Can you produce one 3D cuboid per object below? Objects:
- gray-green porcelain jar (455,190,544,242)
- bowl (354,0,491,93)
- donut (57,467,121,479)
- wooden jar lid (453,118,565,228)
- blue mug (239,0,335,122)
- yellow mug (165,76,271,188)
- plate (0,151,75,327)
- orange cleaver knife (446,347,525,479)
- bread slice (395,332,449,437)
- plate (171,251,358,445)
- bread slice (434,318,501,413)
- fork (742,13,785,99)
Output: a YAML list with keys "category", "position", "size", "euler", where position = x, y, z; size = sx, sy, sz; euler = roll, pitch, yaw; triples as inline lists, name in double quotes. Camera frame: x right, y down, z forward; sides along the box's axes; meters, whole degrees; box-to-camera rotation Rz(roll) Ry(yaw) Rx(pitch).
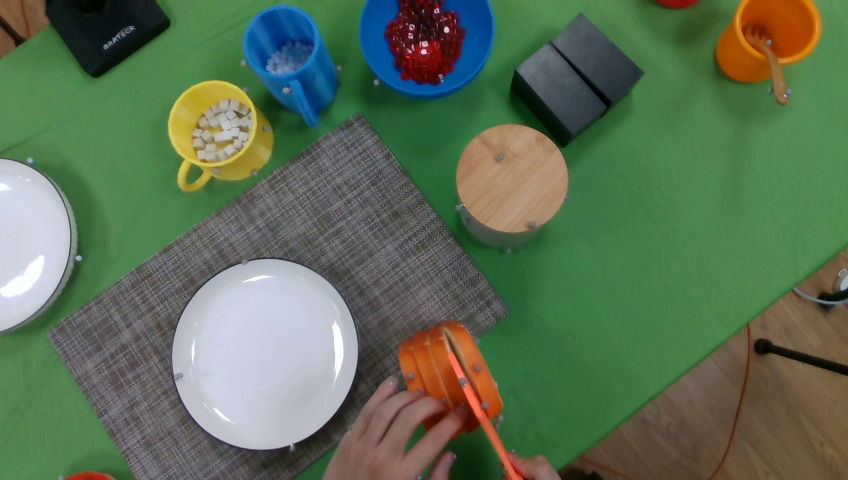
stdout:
- category: "gray-green porcelain jar"
  position: [0.085, -0.055, 0.648]
  size: [0.106, 0.127, 0.105]
  euler: [0, 82, 2]
- category: "bowl"
  position: [0.000, -0.231, 0.698]
  size: [0.151, 0.077, 0.151]
  euler: [0, 83, 2]
- category: "donut"
  position: [-0.369, 0.299, 0.663]
  size: [0.099, 0.048, 0.098]
  euler: [0, 81, 0]
- category: "wooden jar lid"
  position: [0.082, -0.064, 0.587]
  size: [0.108, 0.021, 0.108]
  euler: [0, 83, 0]
- category: "blue mug"
  position: [-0.147, -0.191, 0.685]
  size: [0.082, 0.106, 0.116]
  euler: [-17, 82, 0]
- category: "yellow mug"
  position: [-0.244, -0.116, 0.698]
  size: [0.100, 0.064, 0.130]
  euler: [31, 86, 6]
- category: "plate"
  position: [-0.506, 0.001, 0.708]
  size: [0.207, 0.039, 0.207]
  euler: [0, 83, 2]
- category: "orange cleaver knife"
  position: [0.068, 0.186, 0.571]
  size: [0.012, 0.076, 0.213]
  euler: [-28, 119, -1]
- category: "bread slice"
  position: [-0.002, 0.145, 0.624]
  size: [0.018, 0.135, 0.106]
  euler: [-24, 81, 0]
- category: "plate"
  position: [-0.174, 0.118, 0.677]
  size: [0.209, 0.038, 0.208]
  euler: [0, 83, 2]
- category: "bread slice"
  position: [0.046, 0.128, 0.623]
  size: [0.019, 0.131, 0.104]
  euler: [-26, 86, -9]
- category: "fork"
  position: [0.362, -0.200, 0.644]
  size: [0.028, 0.019, 0.206]
  euler: [26, 40, -2]
